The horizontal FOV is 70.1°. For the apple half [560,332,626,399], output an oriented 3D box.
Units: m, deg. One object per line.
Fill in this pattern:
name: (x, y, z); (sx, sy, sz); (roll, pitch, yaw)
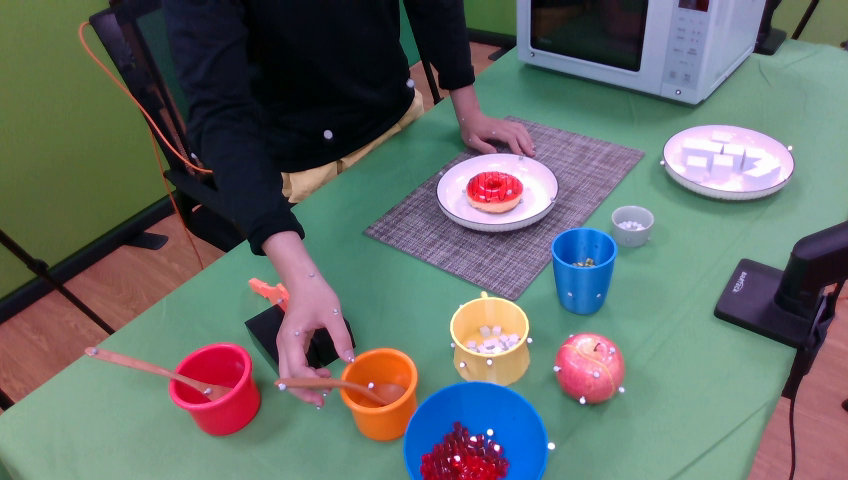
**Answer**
apple half: (0.209, 0.147, 0.730); (0.080, 0.075, 0.053); (26, 48, 38)

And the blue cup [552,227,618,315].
blue cup: (0.218, 0.047, 0.825); (0.092, 0.101, 0.092); (-6, 40, 6)

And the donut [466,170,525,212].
donut: (0.121, -0.083, 1.019); (0.099, 0.048, 0.098); (-4, 38, 4)

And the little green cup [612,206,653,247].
little green cup: (0.321, -0.019, 0.936); (0.061, 0.039, 0.061); (-4, 40, 4)

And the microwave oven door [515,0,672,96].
microwave oven door: (0.344, -0.455, 1.259); (0.353, 0.245, 0.039); (26, 51, 33)

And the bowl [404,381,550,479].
bowl: (0.058, 0.235, 0.645); (0.151, 0.077, 0.150); (-4, 39, 4)

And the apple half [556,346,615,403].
apple half: (0.181, 0.167, 0.709); (0.080, 0.081, 0.033); (29, 53, 35)

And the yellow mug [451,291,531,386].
yellow mug: (0.086, 0.120, 0.786); (0.100, 0.064, 0.130); (-7, 39, 2)

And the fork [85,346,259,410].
fork: (-0.298, 0.166, 0.727); (0.209, 0.018, 0.028); (28, 48, -23)

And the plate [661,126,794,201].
plate: (0.513, -0.127, 1.035); (0.207, 0.039, 0.206); (-4, 40, 4)

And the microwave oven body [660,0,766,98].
microwave oven body: (0.473, -0.513, 1.317); (0.438, 0.261, 0.327); (26, 51, 34)

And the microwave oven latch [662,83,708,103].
microwave oven latch: (0.518, -0.297, 1.205); (0.078, 0.029, 0.030); (29, 53, 36)

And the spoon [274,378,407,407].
spoon: (-0.089, 0.168, 0.686); (0.041, 0.195, 0.021); (38, 98, 43)

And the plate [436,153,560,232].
plate: (0.125, -0.078, 1.029); (0.209, 0.038, 0.208); (-4, 40, 4)

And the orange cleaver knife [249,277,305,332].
orange cleaver knife: (-0.210, 0.088, 0.855); (0.012, 0.077, 0.210); (-28, 15, -25)
